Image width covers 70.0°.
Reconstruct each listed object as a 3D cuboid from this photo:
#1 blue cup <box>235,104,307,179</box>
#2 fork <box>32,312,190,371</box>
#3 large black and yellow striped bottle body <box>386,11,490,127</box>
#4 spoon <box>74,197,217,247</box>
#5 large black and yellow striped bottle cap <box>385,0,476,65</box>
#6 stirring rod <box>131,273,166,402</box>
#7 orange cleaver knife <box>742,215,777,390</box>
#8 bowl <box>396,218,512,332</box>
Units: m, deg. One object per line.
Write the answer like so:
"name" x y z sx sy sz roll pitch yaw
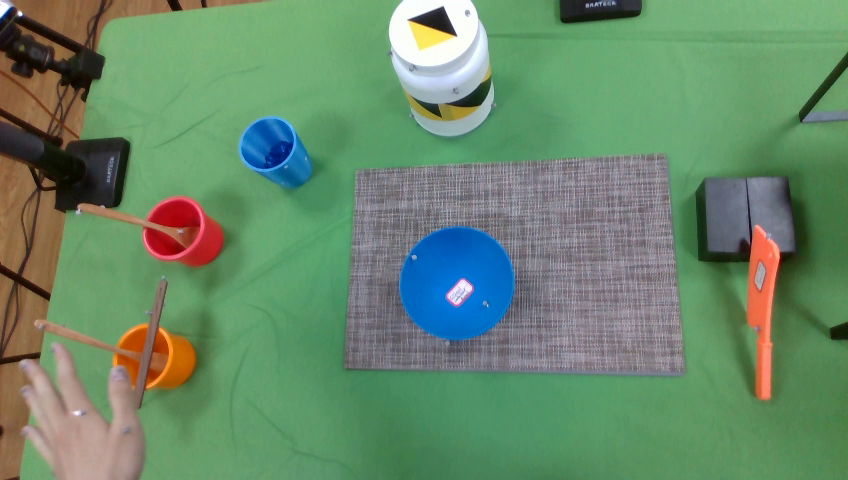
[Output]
"blue cup" -0.217 -0.134 0.896 0.092 0.101 0.092 -2 76 8
"fork" -0.427 0.140 0.834 0.209 0.018 0.028 27 88 -29
"large black and yellow striped bottle body" 0.021 -0.254 0.842 0.130 0.185 0.130 -3 74 10
"spoon" -0.400 -0.031 0.880 0.195 0.021 0.041 20 74 -30
"large black and yellow striped bottle cap" 0.008 -0.276 0.762 0.115 0.019 0.114 -3 75 11
"stirring rod" -0.375 0.131 0.826 0.014 0.006 0.175 4 76 8
"orange cleaver knife" 0.405 0.077 0.738 0.012 0.077 0.212 -4 104 6
"bowl" 0.044 0.053 0.807 0.151 0.077 0.150 -3 75 10
